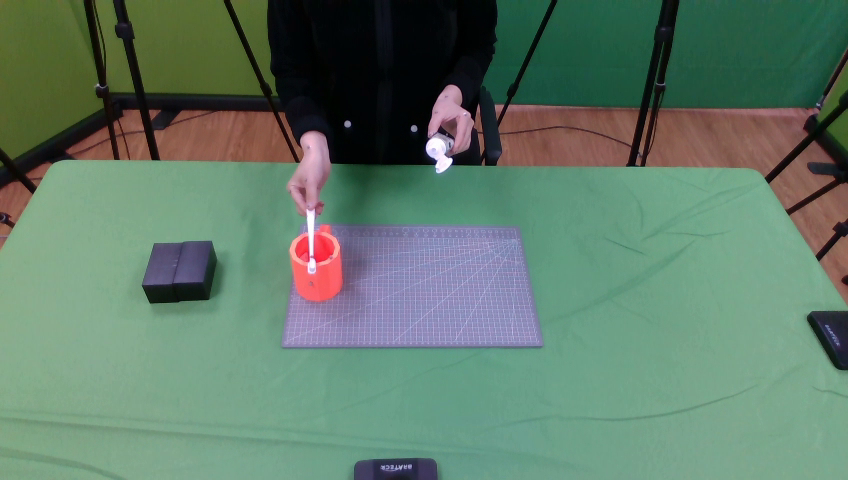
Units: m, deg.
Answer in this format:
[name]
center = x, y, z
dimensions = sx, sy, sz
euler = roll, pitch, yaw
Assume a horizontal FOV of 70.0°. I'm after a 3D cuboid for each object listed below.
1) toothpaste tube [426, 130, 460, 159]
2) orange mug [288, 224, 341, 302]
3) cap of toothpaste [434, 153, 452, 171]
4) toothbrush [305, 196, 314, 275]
[toothpaste tube]
center = 0.032, -0.174, 1.085
dimensions = 0.055, 0.034, 0.164
euler = 29, 22, -1
[orange mug]
center = -0.192, 0.034, 1.094
dimensions = 0.083, 0.101, 0.125
euler = 7, 50, 2
[cap of toothpaste]
center = 0.030, -0.130, 1.007
dimensions = 0.037, 0.011, 0.037
euler = -35, 29, 23
[toothbrush]
center = -0.198, -0.014, 1.045
dimensions = 0.014, 0.017, 0.180
euler = 0, 48, -12
